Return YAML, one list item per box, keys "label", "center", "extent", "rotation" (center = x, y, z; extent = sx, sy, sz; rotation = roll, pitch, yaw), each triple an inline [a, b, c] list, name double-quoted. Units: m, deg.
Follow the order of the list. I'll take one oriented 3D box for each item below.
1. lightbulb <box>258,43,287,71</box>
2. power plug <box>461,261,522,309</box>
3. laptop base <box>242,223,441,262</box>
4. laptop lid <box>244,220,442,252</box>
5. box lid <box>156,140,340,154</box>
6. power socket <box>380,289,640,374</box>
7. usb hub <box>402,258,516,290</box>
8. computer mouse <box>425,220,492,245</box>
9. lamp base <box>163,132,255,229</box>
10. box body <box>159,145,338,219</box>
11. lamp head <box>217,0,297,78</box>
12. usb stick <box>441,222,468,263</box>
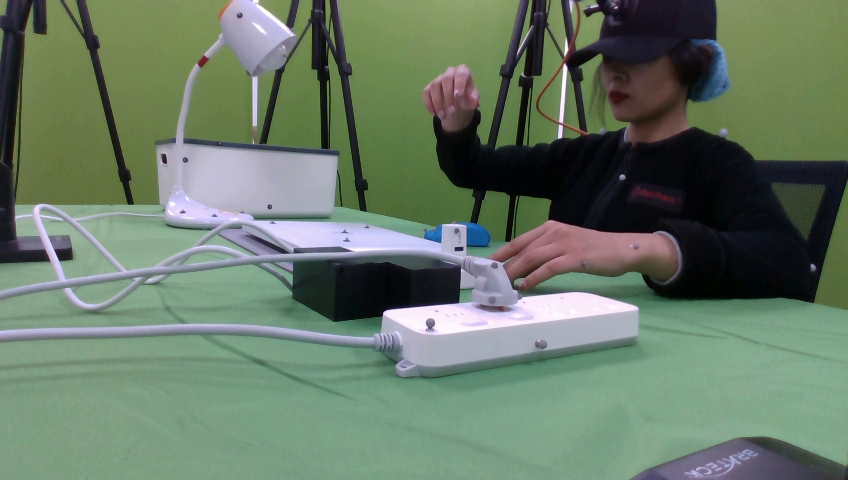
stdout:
- label: "lightbulb"
  center: [-0.295, -0.357, 1.101]
  extent: [0.059, 0.107, 0.059]
  rotation: [-38, 2, 2]
- label: "power plug"
  center: [0.043, 0.043, 0.444]
  extent: [0.035, 0.052, 0.073]
  rotation: [-5, 8, 43]
- label: "laptop base"
  center: [-0.126, 0.003, 0.945]
  extent: [0.237, 0.023, 0.352]
  rotation: [2, 6, -31]
- label: "laptop lid"
  center: [-0.124, -0.009, 0.945]
  extent: [0.243, 0.013, 0.355]
  rotation: [1, 7, -29]
- label: "box lid"
  center: [-0.409, -0.213, 1.404]
  extent: [0.373, 0.015, 0.262]
  rotation: [-2, 8, -32]
- label: "power socket"
  center: [0.072, 0.064, 0.461]
  extent: [0.228, 0.032, 0.072]
  rotation: [-3, 7, -30]
- label: "usb hub"
  center: [0.041, 0.038, 0.690]
  extent: [0.126, 0.025, 0.049]
  rotation: [-2, 10, -30]
- label: "computer mouse"
  center: [0.060, -0.013, 1.059]
  extent: [0.117, 0.041, 0.062]
  rotation: [-3, 10, -6]
- label: "lamp base"
  center: [-0.420, -0.116, 1.156]
  extent: [0.179, 0.180, 0.160]
  rotation: [0, 7, 0]
- label: "box body"
  center: [-0.410, -0.139, 1.414]
  extent: [0.366, 0.160, 0.253]
  rotation: [-3, 8, -33]
- label: "lamp head"
  center: [-0.315, -0.372, 1.102]
  extent: [0.123, 0.112, 0.112]
  rotation: [41, 3, -9]
- label: "usb stick"
  center: [0.034, 0.009, 0.685]
  extent: [0.021, 0.059, 0.027]
  rotation: [-3, 10, -31]
